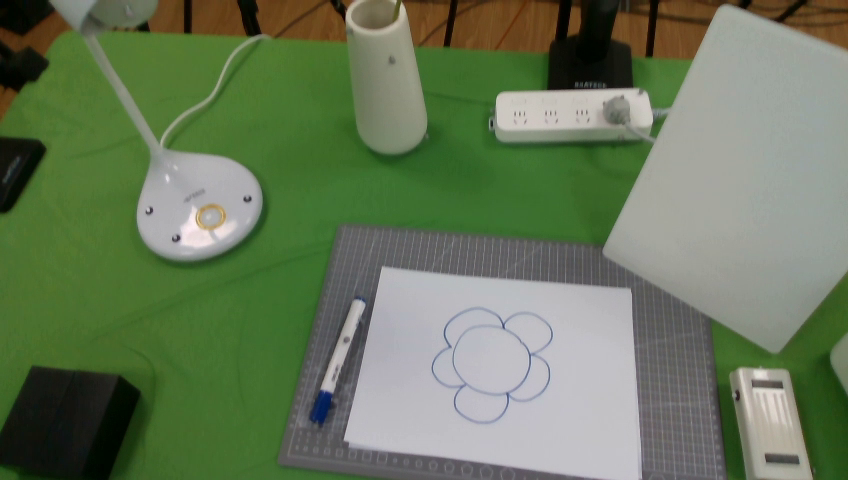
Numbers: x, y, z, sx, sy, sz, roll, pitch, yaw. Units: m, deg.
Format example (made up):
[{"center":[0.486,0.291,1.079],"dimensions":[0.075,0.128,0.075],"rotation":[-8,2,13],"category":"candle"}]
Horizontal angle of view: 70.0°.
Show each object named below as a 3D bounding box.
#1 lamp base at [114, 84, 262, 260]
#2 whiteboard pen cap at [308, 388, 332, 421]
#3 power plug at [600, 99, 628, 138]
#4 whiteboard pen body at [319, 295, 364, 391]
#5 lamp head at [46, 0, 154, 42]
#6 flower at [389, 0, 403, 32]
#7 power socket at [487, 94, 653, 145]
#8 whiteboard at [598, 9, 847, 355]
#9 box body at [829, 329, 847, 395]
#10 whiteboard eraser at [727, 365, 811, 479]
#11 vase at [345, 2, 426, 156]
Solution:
[{"center":[-0.307,-0.091,0.733],"dimensions":[0.177,0.182,0.160],"rotation":[35,65,26],"category":"lamp base"},{"center":[-0.110,0.175,0.647],"dimensions":[0.018,0.018,0.033],"rotation":[12,61,11],"category":"whiteboard pen cap"},{"center":[0.250,-0.154,0.802],"dimensions":[0.035,0.053,0.072],"rotation":[9,65,9],"category":"power plug"},{"center":[-0.095,0.126,0.674],"dimensions":[0.017,0.017,0.140],"rotation":[12,61,11],"category":"whiteboard pen body"},{"center":[-0.275,-0.238,0.481],"dimensions":[0.123,0.112,0.112],"rotation":[45,64,-15],"category":"lamp head"},{"center":[-0.038,-0.234,0.700],"dimensions":[0.044,0.363,0.038],"rotation":[-32,78,-25],"category":"flower"},{"center":[0.202,-0.167,0.840],"dimensions":[0.227,0.033,0.071],"rotation":[0,59,3],"category":"power socket"},{"center":[0.363,-0.070,0.644],"dimensions":[0.215,0.307,0.144],"rotation":[33,45,22],"category":"whiteboard"},{"center":[0.570,0.195,0.512],"dimensions":[0.254,0.162,0.360],"rotation":[-11,58,-4],"category":"box body"},{"center":[0.342,0.183,0.605],"dimensions":[0.055,0.042,0.111],"rotation":[3,58,4],"category":"whiteboard eraser"},{"center":[-0.052,-0.199,0.776],"dimensions":[0.098,0.202,0.097],"rotation":[-2,57,4],"category":"vase"}]
